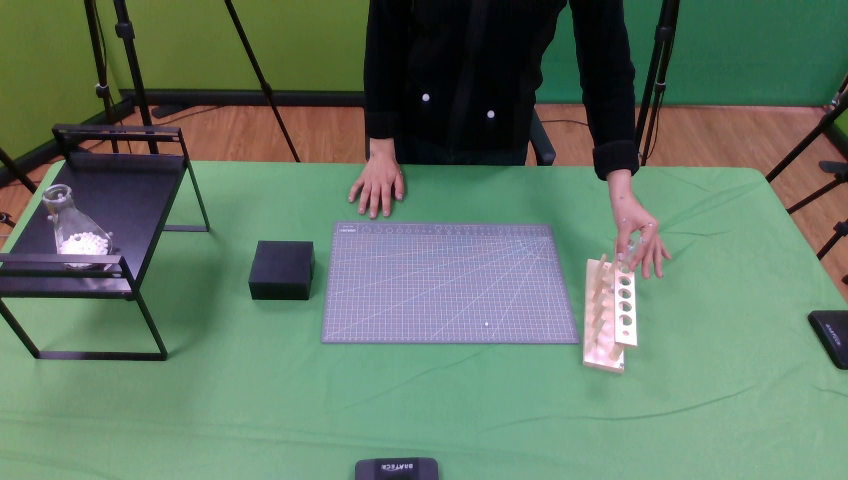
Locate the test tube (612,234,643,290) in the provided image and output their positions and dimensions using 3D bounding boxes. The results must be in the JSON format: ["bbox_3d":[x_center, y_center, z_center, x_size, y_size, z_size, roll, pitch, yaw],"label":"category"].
[{"bbox_3d":[0.355,0.041,1.064,0.017,0.151,0.017,1,50,-1],"label":"test tube"}]

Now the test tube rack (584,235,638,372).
[{"bbox_3d":[0.329,0.103,1.073,0.067,0.085,0.241,11,47,7],"label":"test tube rack"}]

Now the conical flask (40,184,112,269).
[{"bbox_3d":[-0.501,-0.022,0.861,0.075,0.122,0.075,2,46,-1],"label":"conical flask"}]
